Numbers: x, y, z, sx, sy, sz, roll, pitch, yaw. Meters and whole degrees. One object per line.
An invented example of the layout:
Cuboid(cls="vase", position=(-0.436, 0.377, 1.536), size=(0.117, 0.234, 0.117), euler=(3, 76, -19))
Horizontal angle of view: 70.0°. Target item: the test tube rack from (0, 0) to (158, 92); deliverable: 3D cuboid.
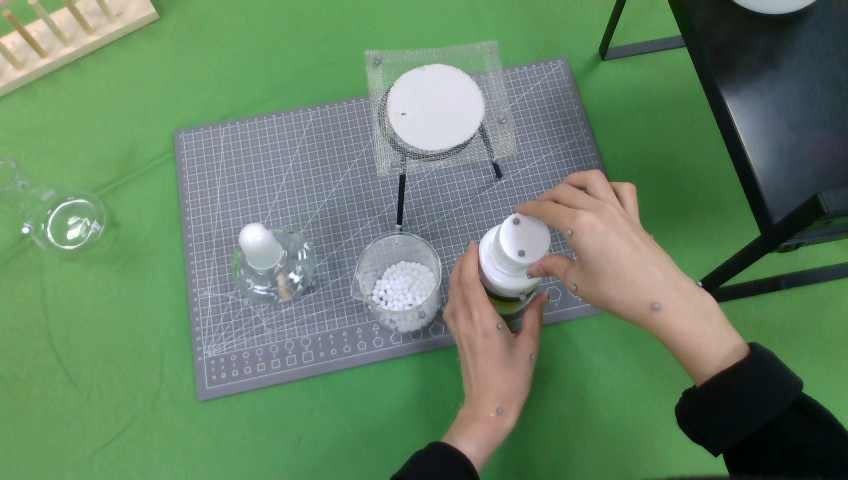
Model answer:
Cuboid(cls="test tube rack", position=(-0.439, -0.248, 0.677), size=(0.242, 0.086, 0.066), euler=(-31, 73, -10))

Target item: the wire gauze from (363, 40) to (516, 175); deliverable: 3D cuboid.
Cuboid(cls="wire gauze", position=(0.012, -0.120, 0.527), size=(0.121, 0.011, 0.124), euler=(-6, 71, -3))

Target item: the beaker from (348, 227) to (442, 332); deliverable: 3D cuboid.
Cuboid(cls="beaker", position=(-0.024, 0.043, 0.560), size=(0.084, 0.101, 0.073), euler=(-24, 71, -6))

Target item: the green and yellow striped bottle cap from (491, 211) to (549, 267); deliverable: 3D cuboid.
Cuboid(cls="green and yellow striped bottle cap", position=(0.078, -0.001, 0.491), size=(0.045, 0.020, 0.045), euler=(2, 75, -6))

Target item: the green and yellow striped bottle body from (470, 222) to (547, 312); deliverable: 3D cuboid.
Cuboid(cls="green and yellow striped bottle body", position=(0.076, 0.023, 0.555), size=(0.063, 0.120, 0.063), euler=(0, 70, 1))

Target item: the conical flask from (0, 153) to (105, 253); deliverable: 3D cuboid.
Cuboid(cls="conical flask", position=(-0.373, -0.040, 0.584), size=(0.075, 0.122, 0.075), euler=(0, 70, 1))

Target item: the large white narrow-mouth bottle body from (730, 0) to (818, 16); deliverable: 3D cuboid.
Cuboid(cls="large white narrow-mouth bottle body", position=(0.288, -0.261, 0.426), size=(0.102, 0.196, 0.101), euler=(0, 68, 1))

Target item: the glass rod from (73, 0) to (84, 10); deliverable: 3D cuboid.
Cuboid(cls="glass rod", position=(-0.400, -0.313, 0.629), size=(0.008, 0.201, 0.008), euler=(1, 68, -3))

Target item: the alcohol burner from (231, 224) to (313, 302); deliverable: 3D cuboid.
Cuboid(cls="alcohol burner", position=(-0.145, 0.015, 0.564), size=(0.078, 0.120, 0.077), euler=(0, 69, -1))

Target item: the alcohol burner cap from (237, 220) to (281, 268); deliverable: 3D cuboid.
Cuboid(cls="alcohol burner cap", position=(-0.147, 0.001, 0.530), size=(0.034, 0.048, 0.033), euler=(1, 63, -1))

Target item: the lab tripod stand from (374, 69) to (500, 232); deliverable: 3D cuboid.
Cuboid(cls="lab tripod stand", position=(0.007, -0.091, 0.589), size=(0.148, 0.132, 0.147), euler=(0, 69, 0))
